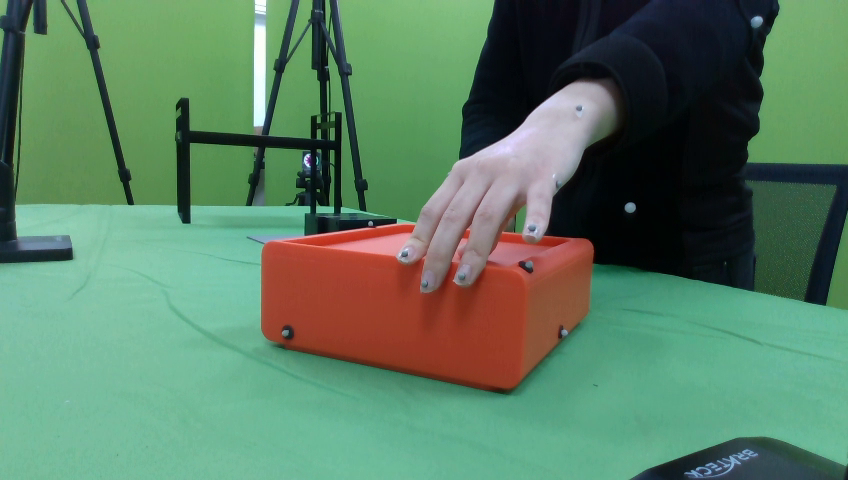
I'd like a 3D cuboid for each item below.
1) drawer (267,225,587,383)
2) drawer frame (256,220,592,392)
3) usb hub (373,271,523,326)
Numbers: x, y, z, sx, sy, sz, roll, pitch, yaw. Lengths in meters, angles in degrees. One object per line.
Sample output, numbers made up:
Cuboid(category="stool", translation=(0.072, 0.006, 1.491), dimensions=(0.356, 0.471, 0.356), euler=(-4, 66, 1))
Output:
Cuboid(category="drawer", translation=(0.015, 0.039, 0.495), dimensions=(0.194, 0.073, 0.212), euler=(6, 10, 25))
Cuboid(category="drawer frame", translation=(0.014, 0.036, 0.490), dimensions=(0.201, 0.082, 0.214), euler=(6, 9, 25))
Cuboid(category="usb hub", translation=(0.020, 0.049, 0.529), dimensions=(0.124, 0.025, 0.050), euler=(7, 9, 25))
